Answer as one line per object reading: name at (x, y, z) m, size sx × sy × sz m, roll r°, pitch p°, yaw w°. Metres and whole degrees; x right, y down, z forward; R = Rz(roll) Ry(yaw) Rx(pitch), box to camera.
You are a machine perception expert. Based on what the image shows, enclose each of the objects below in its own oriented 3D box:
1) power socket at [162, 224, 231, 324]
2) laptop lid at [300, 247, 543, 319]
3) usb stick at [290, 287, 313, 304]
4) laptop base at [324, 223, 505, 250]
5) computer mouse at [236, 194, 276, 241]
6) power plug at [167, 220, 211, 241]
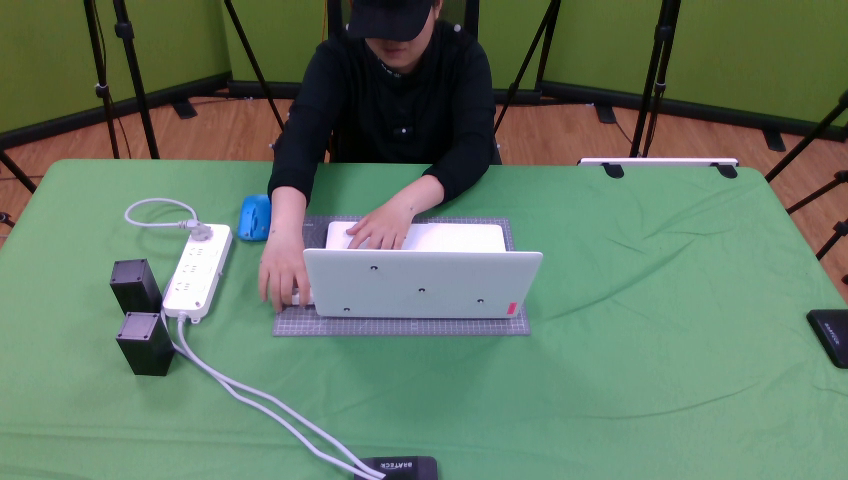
power socket at (-0.411, 0.052, 1.106) m, size 0.072 × 0.033 × 0.225 m, roll 3°, pitch 46°, yaw -2°
laptop lid at (-0.006, 0.075, 0.963) m, size 0.357 × 0.242 × 0.013 m, roll 2°, pitch 58°, yaw -4°
usb stick at (-0.205, 0.098, 1.069) m, size 0.059 × 0.027 × 0.021 m, roll 4°, pitch 46°, yaw -7°
laptop base at (-0.015, 0.054, 1.146) m, size 0.354 × 0.023 × 0.234 m, roll 1°, pitch 43°, yaw -3°
computer mouse at (-0.334, -0.048, 1.206) m, size 0.063 × 0.041 × 0.116 m, roll 2°, pitch 50°, yaw -4°
power plug at (-0.438, -0.017, 1.143) m, size 0.072 × 0.053 × 0.035 m, roll 10°, pitch 43°, yaw 7°
